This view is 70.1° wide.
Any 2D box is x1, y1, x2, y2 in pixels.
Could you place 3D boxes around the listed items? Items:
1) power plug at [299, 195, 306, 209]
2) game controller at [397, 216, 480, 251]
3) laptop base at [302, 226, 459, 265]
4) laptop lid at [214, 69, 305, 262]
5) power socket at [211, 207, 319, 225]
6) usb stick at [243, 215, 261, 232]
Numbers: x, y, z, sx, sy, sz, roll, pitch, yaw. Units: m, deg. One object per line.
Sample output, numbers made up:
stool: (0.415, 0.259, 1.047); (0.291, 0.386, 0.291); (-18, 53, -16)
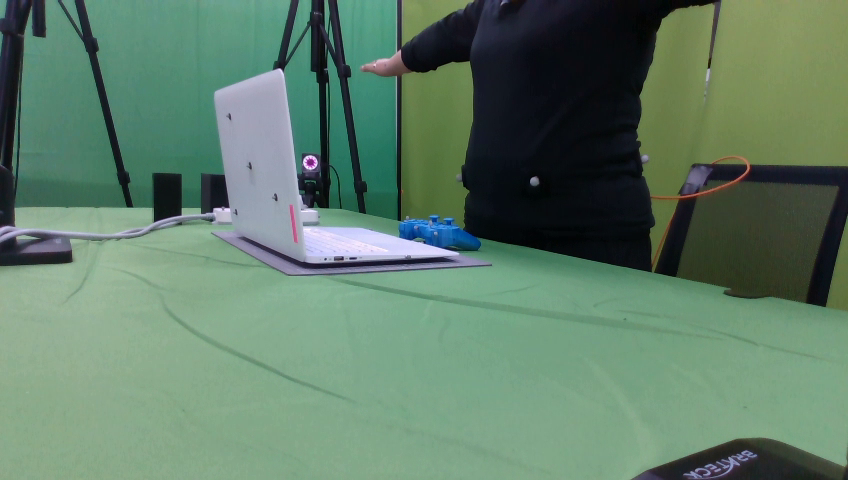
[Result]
power plug: (-0.283, -0.075, 1.342); (0.035, 0.052, 0.072); (0, 4, -18)
game controller: (0.020, -0.013, 1.052); (0.097, 0.051, 0.154); (-4, 9, -30)
laptop base: (-0.136, 0.007, 0.951); (0.237, 0.023, 0.352); (2, 6, -32)
laptop lid: (-0.246, -0.107, 0.865); (0.013, 0.241, 0.355); (-11, 14, -30)
power socket: (-0.334, -0.051, 1.281); (0.228, 0.032, 0.072); (-1, 9, -29)
usb stick: (-0.303, -0.029, 1.070); (0.021, 0.027, 0.059); (0, 11, -30)
